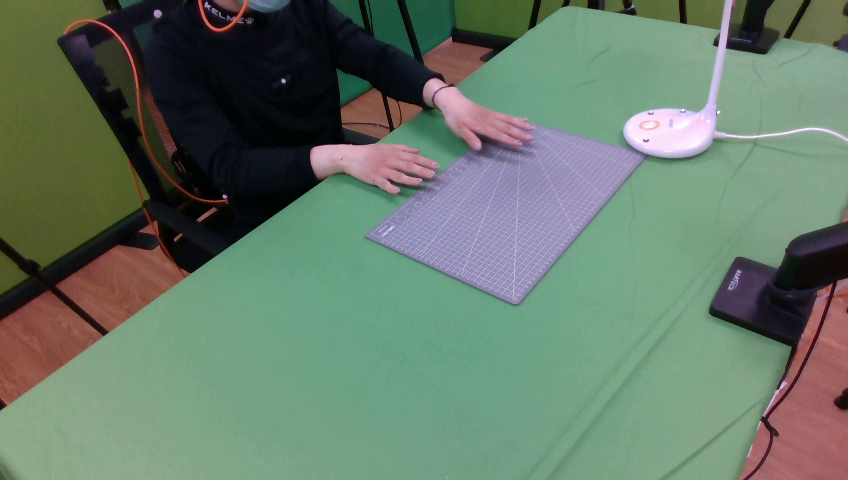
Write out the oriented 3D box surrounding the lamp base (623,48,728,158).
[{"bbox_3d":[0.462,-0.261,1.084,0.179,0.181,0.160,3,42,7],"label":"lamp base"}]
